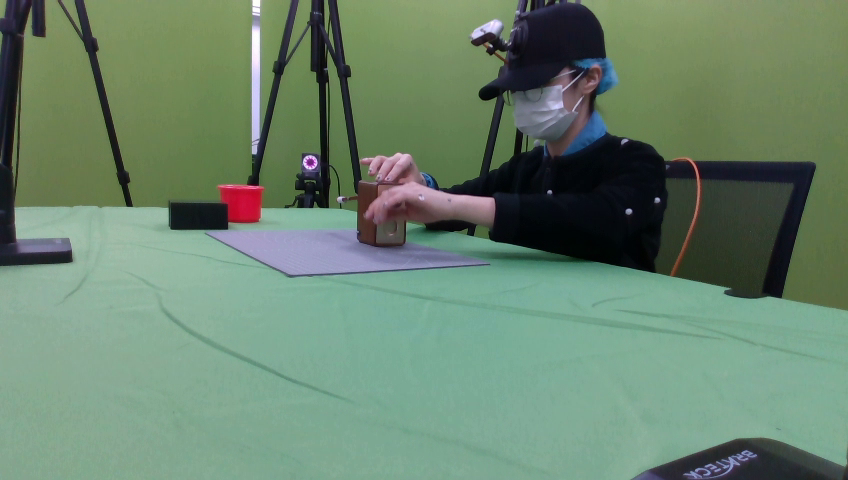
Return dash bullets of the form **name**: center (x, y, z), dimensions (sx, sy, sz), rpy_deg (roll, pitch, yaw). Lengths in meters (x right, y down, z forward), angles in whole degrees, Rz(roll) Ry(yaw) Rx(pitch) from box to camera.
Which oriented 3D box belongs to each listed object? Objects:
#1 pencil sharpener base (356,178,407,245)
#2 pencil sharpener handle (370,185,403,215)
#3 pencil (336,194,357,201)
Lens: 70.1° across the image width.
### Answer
- **pencil sharpener base**: center (-0.071, -0.049, 1.018), dimensions (0.062, 0.107, 0.076), rpy_deg (-2, 9, -32)
- **pencil sharpener handle**: center (-0.055, -0.061, 0.966), dimensions (0.068, 0.036, 0.030), rpy_deg (-38, 25, -22)
- **pencil**: center (-0.122, -0.080, 1.102), dimensions (0.012, 0.012, 0.193), rpy_deg (-2, 1, -30)
